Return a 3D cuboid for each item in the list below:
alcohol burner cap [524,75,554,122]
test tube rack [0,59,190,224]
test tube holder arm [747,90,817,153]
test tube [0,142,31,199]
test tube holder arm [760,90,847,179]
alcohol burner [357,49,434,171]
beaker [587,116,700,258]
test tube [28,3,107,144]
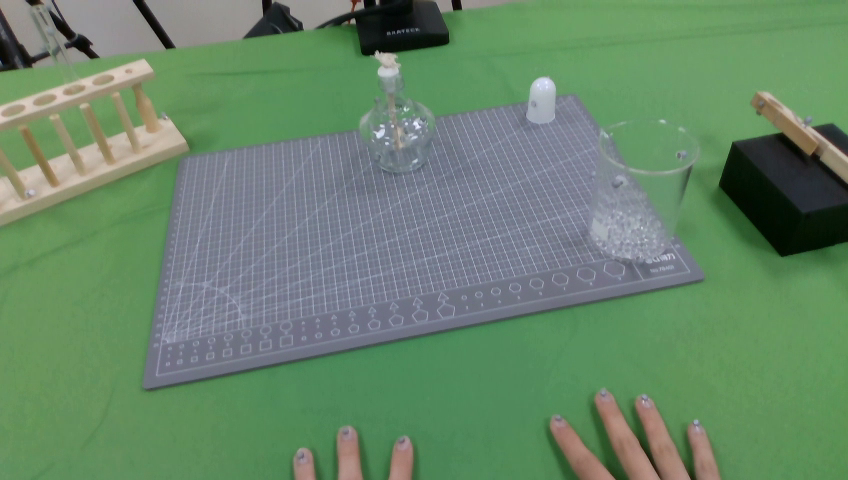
[{"bbox_3d":[0.127,-0.157,0.662,0.034,0.048,0.033,-2,45,3],"label":"alcohol burner cap"},{"bbox_3d":[-0.380,-0.096,0.618,0.242,0.086,0.066,-28,49,-22],"label":"test tube rack"},{"bbox_3d":[0.323,-0.108,0.545,0.010,0.015,0.087,-7,44,-14],"label":"test tube holder arm"},{"bbox_3d":[-0.408,-0.100,0.561,0.017,0.152,0.017,-2,42,2],"label":"test tube"},{"bbox_3d":[0.340,-0.078,0.516,0.013,0.015,0.176,-7,44,-14],"label":"test tube holder arm"},{"bbox_3d":[-0.030,-0.130,0.597,0.078,0.120,0.077,-4,43,4],"label":"alcohol burner"},{"bbox_3d":[0.173,-0.042,0.501,0.074,0.101,0.083,-32,50,-25],"label":"beaker"},{"bbox_3d":[-0.357,-0.162,0.612,0.017,0.151,0.017,-2,42,2],"label":"test tube"}]
